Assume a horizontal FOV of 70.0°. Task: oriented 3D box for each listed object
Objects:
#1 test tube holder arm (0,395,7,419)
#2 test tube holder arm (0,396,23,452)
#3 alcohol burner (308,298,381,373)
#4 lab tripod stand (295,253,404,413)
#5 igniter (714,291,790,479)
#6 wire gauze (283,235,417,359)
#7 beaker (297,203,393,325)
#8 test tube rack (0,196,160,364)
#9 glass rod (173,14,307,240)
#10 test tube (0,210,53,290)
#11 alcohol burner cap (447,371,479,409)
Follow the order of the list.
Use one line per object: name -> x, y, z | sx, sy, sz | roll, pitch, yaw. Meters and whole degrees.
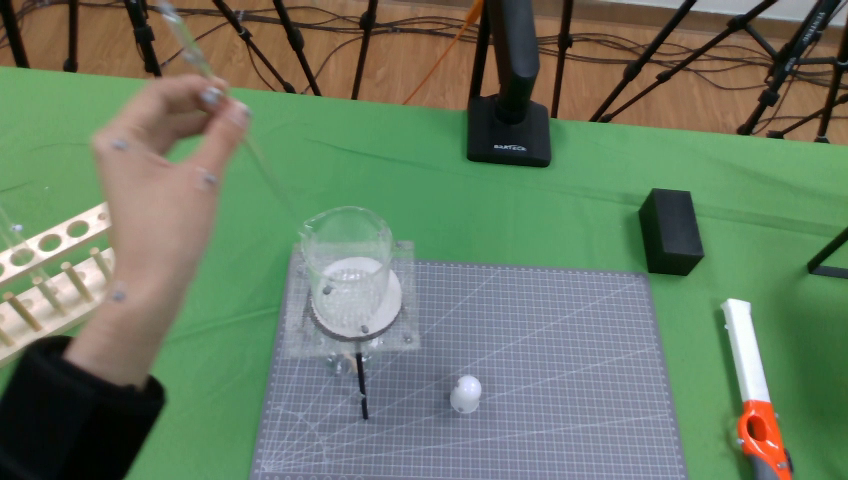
test tube holder arm -> -0.397, 0.222, 0.522 | 0.013, 0.015, 0.177 | 6, 56, -2
test tube holder arm -> -0.388, 0.185, 0.548 | 0.010, 0.015, 0.087 | 6, 56, -1
alcohol burner -> -0.083, 0.093, 0.634 | 0.078, 0.120, 0.077 | 4, 56, -5
lab tripod stand -> -0.072, 0.089, 0.625 | 0.148, 0.132, 0.147 | 3, 58, -5
igniter -> 0.365, 0.183, 0.673 | 0.057, 0.025, 0.274 | 11, 57, -10
wire gauze -> -0.070, 0.049, 0.573 | 0.121, 0.011, 0.124 | -2, 61, -5
beaker -> -0.071, 0.024, 0.531 | 0.083, 0.101, 0.073 | 25, 59, 10
test tube rack -> -0.422, 0.056, 0.644 | 0.242, 0.086, 0.066 | -33, 66, -24
glass rod -> -0.110, -0.057, 0.390 | 0.008, 0.202, 0.008 | -5, 55, 7
test tube -> -0.415, 0.008, 0.618 | 0.017, 0.151, 0.017 | 3, 52, -4
alcohol burner cap -> 0.043, 0.158, 0.647 | 0.034, 0.048, 0.033 | 2, 57, -3
